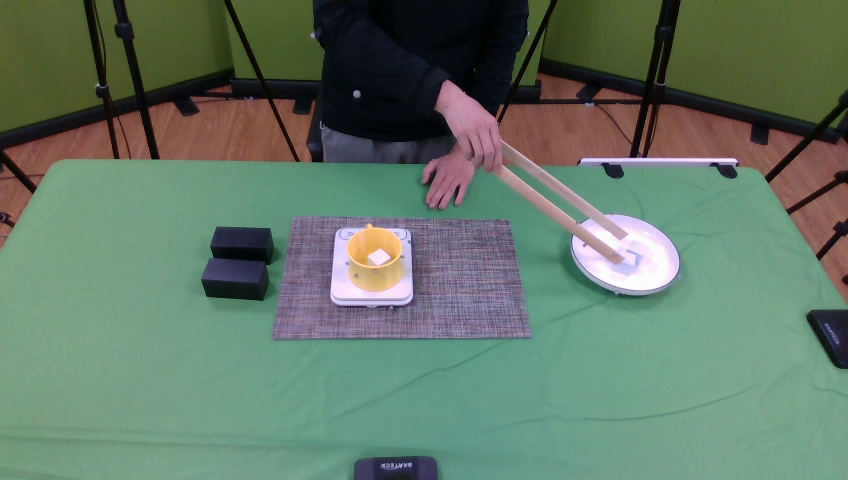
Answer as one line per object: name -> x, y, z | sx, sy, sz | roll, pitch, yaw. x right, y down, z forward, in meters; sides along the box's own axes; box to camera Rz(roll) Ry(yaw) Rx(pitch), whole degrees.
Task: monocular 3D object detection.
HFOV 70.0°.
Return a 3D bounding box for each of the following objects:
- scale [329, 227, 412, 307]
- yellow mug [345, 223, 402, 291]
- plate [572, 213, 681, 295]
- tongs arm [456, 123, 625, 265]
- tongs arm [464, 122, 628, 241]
scale -> -0.099, 0.042, 1.139 | 0.149, 0.032, 0.199 | 1, 46, -4
yellow mug -> -0.092, 0.022, 1.093 | 0.100, 0.064, 0.130 | -8, 46, -10
plate -> 0.393, 0.030, 1.189 | 0.208, 0.039, 0.206 | 2, 46, -2
tongs arm -> 0.216, -0.081, 1.110 | 0.385, 0.026, 0.050 | 34, 46, -10
tongs arm -> 0.229, -0.108, 1.140 | 0.388, 0.028, 0.028 | 33, 49, -11
